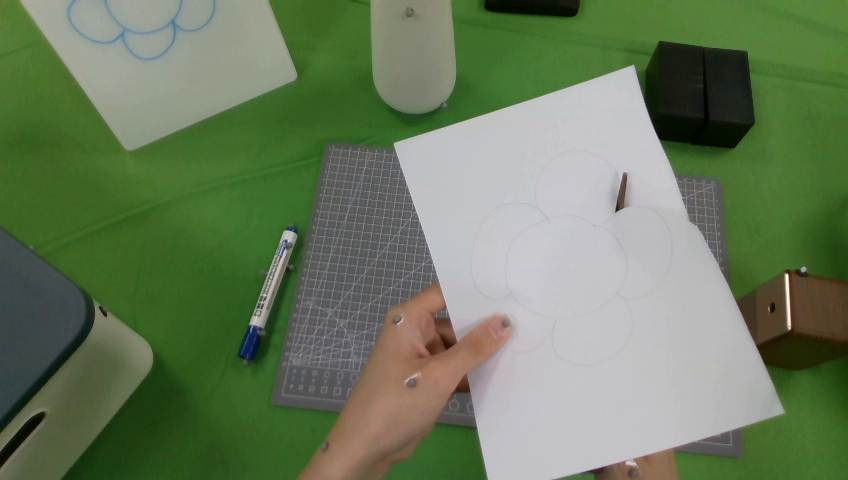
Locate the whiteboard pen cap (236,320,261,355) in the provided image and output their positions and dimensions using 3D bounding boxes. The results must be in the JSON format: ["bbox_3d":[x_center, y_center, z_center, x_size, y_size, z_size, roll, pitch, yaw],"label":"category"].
[{"bbox_3d":[-0.173,0.096,0.602,0.018,0.018,0.033,12,63,6],"label":"whiteboard pen cap"}]

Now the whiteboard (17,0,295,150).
[{"bbox_3d":[-0.305,-0.292,0.644,0.217,0.308,0.142,-27,50,-10],"label":"whiteboard"}]

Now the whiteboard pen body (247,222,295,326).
[{"bbox_3d":[-0.161,0.044,0.626,0.017,0.017,0.140,12,66,6],"label":"whiteboard pen body"}]

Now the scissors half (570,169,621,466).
[{"bbox_3d":[0.105,0.044,0.354,0.013,0.040,0.174,8,84,-4],"label":"scissors half"}]

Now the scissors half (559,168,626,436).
[{"bbox_3d":[0.105,0.042,0.376,0.013,0.040,0.176,8,108,1],"label":"scissors half"}]

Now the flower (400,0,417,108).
[{"bbox_3d":[-0.023,-0.275,0.571,0.044,0.365,0.038,-1,49,4],"label":"flower"}]

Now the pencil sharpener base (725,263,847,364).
[{"bbox_3d":[0.343,0.072,0.565,0.077,0.107,0.061,10,67,1],"label":"pencil sharpener base"}]

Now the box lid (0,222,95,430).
[{"bbox_3d":[-0.468,0.054,0.464,0.370,0.015,0.262,31,70,12],"label":"box lid"}]

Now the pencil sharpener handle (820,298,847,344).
[{"bbox_3d":[0.393,0.077,0.552,0.030,0.068,0.035,10,61,1],"label":"pencil sharpener handle"}]

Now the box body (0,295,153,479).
[{"bbox_3d":[-0.465,0.085,0.532,0.362,0.161,0.253,31,71,12],"label":"box body"}]

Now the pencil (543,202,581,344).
[{"bbox_3d":[0.147,0.049,0.627,0.012,0.012,0.192,-7,69,-2],"label":"pencil"}]

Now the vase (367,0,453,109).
[{"bbox_3d":[-0.016,-0.229,0.643,0.098,0.201,0.097,-1,66,2],"label":"vase"}]
